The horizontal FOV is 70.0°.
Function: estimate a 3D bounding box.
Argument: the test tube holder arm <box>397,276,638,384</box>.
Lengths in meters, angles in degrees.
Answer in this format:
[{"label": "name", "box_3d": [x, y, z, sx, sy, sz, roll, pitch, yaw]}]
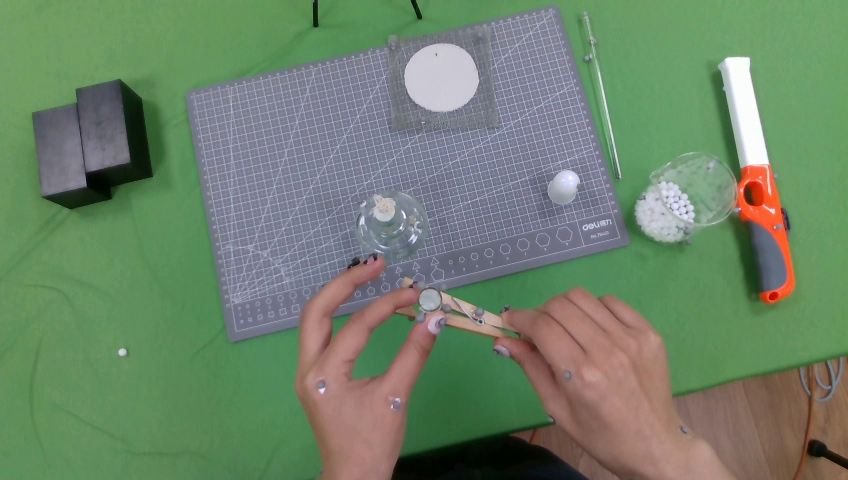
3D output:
[{"label": "test tube holder arm", "box_3d": [0.065, 0.063, 0.420, 0.178, 0.015, 0.013, 21, 84, -2]}]

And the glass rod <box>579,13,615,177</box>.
[{"label": "glass rod", "box_3d": [0.199, -0.168, 0.696, 0.008, 0.008, 0.199, -8, 82, 0]}]

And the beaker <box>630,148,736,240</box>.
[{"label": "beaker", "box_3d": [0.257, -0.043, 0.625, 0.084, 0.100, 0.074, 18, 79, 6]}]

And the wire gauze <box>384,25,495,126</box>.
[{"label": "wire gauze", "box_3d": [0.017, -0.189, 0.703, 0.125, 0.011, 0.121, -3, 80, 0]}]

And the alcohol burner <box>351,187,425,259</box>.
[{"label": "alcohol burner", "box_3d": [-0.039, -0.021, 0.619, 0.078, 0.119, 0.077, -1, 78, 4]}]

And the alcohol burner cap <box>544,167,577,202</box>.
[{"label": "alcohol burner cap", "box_3d": [0.150, -0.063, 0.658, 0.034, 0.048, 0.033, 0, 79, 2]}]

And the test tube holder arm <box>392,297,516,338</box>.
[{"label": "test tube holder arm", "box_3d": [0.021, 0.054, 0.418, 0.088, 0.015, 0.010, 13, 84, -2]}]

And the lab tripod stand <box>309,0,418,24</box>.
[{"label": "lab tripod stand", "box_3d": [-0.076, -0.310, 0.667, 0.148, 0.132, 0.148, 0, 81, 2]}]

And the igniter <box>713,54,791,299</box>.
[{"label": "igniter", "box_3d": [0.359, -0.073, 0.664, 0.057, 0.025, 0.275, -4, 79, -9]}]

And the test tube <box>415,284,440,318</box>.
[{"label": "test tube", "box_3d": [0.002, 0.046, 0.436, 0.017, 0.150, 0.017, 0, 81, 0]}]
